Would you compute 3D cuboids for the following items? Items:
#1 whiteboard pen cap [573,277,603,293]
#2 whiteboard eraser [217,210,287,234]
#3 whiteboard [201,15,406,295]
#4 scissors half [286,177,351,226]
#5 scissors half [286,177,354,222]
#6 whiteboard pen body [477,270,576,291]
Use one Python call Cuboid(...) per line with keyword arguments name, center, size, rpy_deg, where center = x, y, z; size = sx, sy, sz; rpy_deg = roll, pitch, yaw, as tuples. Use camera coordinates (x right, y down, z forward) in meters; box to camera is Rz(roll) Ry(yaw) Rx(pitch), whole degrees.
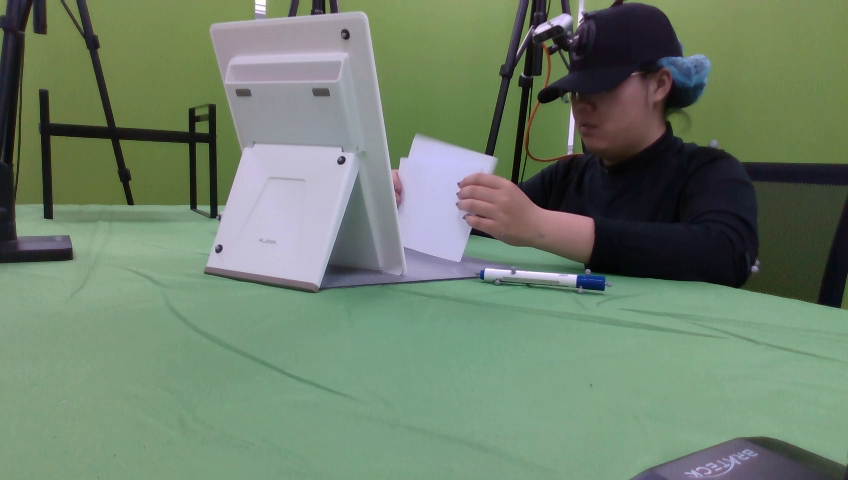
Cuboid(name="whiteboard pen cap", center=(0.186, 0.051, 0.687), size=(0.033, 0.018, 0.018), rpy_deg=(4, 7, 18))
Cuboid(name="whiteboard eraser", center=(-0.310, -0.034, 1.094), size=(0.113, 0.042, 0.055), rpy_deg=(-2, 11, -38))
Cuboid(name="whiteboard", center=(-0.167, -0.073, 0.668), size=(0.216, 0.305, 0.144), rpy_deg=(7, 30, 28))
Cuboid(name="scissors half", center=(-0.232, -0.085, 1.317), size=(0.175, 0.013, 0.040), rpy_deg=(37, 18, 4))
Cuboid(name="scissors half", center=(-0.230, -0.090, 1.337), size=(0.175, 0.013, 0.040), rpy_deg=(33, 13, -13))
Cuboid(name="whiteboard pen body", center=(0.131, 0.048, 0.706), size=(0.140, 0.017, 0.017), rpy_deg=(4, 7, 18))
